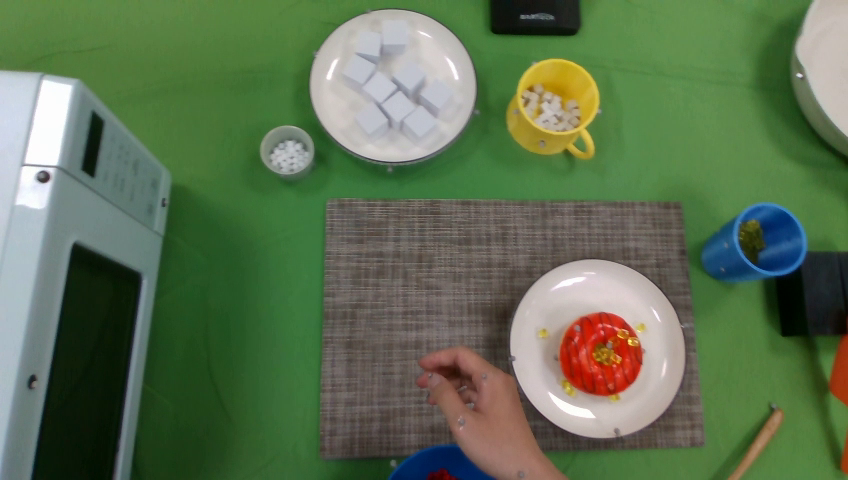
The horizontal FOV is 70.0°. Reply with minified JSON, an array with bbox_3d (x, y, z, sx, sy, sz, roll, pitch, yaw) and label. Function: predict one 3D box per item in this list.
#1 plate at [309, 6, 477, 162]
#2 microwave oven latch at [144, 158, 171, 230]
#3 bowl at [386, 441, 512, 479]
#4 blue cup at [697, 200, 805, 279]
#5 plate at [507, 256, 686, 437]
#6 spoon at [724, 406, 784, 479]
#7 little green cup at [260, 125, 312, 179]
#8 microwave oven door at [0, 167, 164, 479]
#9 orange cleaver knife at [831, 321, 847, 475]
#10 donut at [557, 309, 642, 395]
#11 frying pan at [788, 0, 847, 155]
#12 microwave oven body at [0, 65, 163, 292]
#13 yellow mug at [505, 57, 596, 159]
[{"bbox_3d":[-0.038,-0.193,0.762,0.208,0.039,0.206,1,78,-4],"label":"plate"},{"bbox_3d":[-0.310,-0.053,0.692,0.030,0.029,0.079,5,78,-4],"label":"microwave oven latch"},{"bbox_3d":[0.023,0.288,0.645,0.151,0.077,0.150,1,78,-4],"label":"bowl"},{"bbox_3d":[0.378,0.008,0.720,0.093,0.100,0.092,1,76,-5],"label":"blue cup"},{"bbox_3d":[0.198,0.123,0.710,0.209,0.038,0.208,1,79,-4],"label":"plate"},{"bbox_3d":[0.365,0.267,0.704,0.041,0.022,0.193,40,78,22],"label":"spoon"},{"bbox_3d":[-0.164,-0.103,0.732,0.061,0.039,0.061,1,79,-5],"label":"little green cup"},{"bbox_3d":[-0.315,0.139,0.548,0.039,0.244,0.354,3,78,-3],"label":"microwave oven door"},{"bbox_3d":[0.504,0.170,0.705,0.012,0.076,0.212,-1,107,-4],"label":"orange cleaver knife"},{"bbox_3d":[0.201,0.129,0.697,0.099,0.048,0.098,1,81,-3],"label":"donut"},{"bbox_3d":[0.609,-0.128,0.764,0.307,0.103,0.484,5,70,-2],"label":"frying pan"},{"bbox_3d":[-0.459,0.091,0.552,0.326,0.261,0.439,3,78,-4],"label":"microwave oven body"},{"bbox_3d":[0.166,-0.155,0.756,0.100,0.064,0.130,-37,84,-11],"label":"yellow mug"}]
